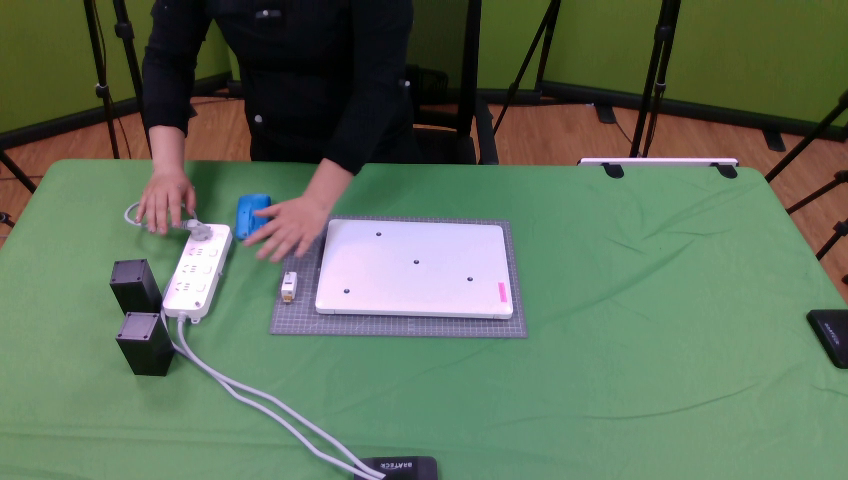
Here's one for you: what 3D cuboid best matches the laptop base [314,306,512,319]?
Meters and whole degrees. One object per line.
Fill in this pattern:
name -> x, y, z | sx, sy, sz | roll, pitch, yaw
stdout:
laptop base -> -0.018, 0.055, 1.144 | 0.354, 0.023, 0.234 | 2, 42, -2

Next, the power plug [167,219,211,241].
power plug -> -0.438, -0.017, 1.143 | 0.072, 0.053, 0.035 | 11, 44, 7

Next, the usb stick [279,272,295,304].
usb stick -> -0.246, 0.087, 1.085 | 0.021, 0.027, 0.059 | 4, 48, -4

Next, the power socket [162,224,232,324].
power socket -> -0.411, 0.052, 1.106 | 0.072, 0.033, 0.225 | 4, 46, -1

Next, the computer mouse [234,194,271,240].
computer mouse -> -0.341, -0.049, 1.208 | 0.063, 0.041, 0.116 | 0, 49, -7

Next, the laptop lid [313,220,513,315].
laptop lid -> -0.017, 0.045, 1.138 | 0.357, 0.013, 0.240 | 3, 43, -1
